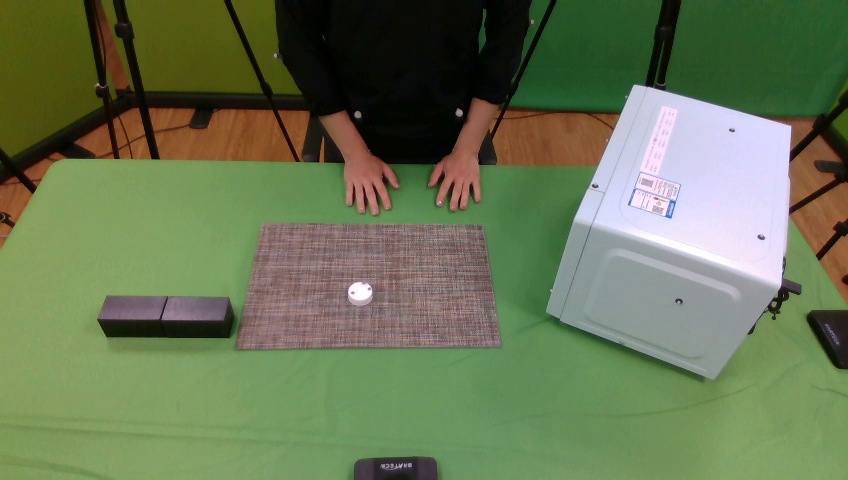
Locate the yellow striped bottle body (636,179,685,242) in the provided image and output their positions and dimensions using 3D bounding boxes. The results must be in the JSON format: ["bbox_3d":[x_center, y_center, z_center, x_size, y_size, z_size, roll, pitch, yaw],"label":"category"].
[{"bbox_3d":[0.442,-0.058,1.126,0.063,0.121,0.062,1,48,0],"label":"yellow striped bottle body"}]

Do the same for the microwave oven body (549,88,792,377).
[{"bbox_3d":[0.456,-0.028,1.088,0.325,0.261,0.440,20,47,16],"label":"microwave oven body"}]

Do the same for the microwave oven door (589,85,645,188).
[{"bbox_3d":[0.341,-0.107,1.149,0.039,0.245,0.354,20,48,15],"label":"microwave oven door"}]

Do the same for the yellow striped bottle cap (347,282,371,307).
[{"bbox_3d":[-0.117,0.098,1.093,0.044,0.019,0.044,3,46,-3],"label":"yellow striped bottle cap"}]

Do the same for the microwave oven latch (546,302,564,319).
[{"bbox_3d":[0.242,0.102,1.081,0.030,0.029,0.079,21,48,17],"label":"microwave oven latch"}]
